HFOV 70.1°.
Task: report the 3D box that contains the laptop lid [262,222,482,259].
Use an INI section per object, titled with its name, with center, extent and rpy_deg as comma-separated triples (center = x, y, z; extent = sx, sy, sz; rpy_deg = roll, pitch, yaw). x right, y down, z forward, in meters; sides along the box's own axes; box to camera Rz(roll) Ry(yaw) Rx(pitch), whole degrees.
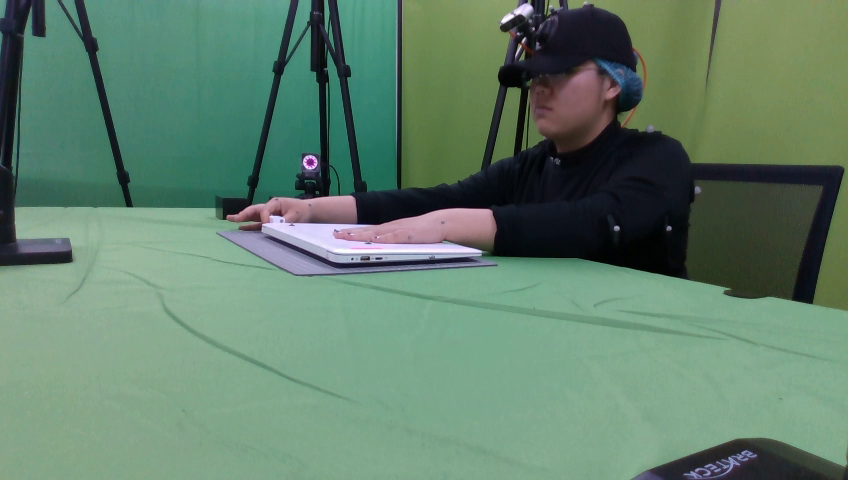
[laptop lid]
center = -0.098, -0.003, 0.964
extent = 0.243, 0.013, 0.355
rpy_deg = 2, 7, -29

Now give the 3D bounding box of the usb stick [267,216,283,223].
[usb stick]
center = -0.266, -0.029, 1.088
extent = 0.021, 0.027, 0.059
rpy_deg = -6, 12, -25

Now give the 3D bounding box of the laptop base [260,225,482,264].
[laptop base]
center = -0.101, 0.007, 0.965
extent = 0.237, 0.023, 0.352
rpy_deg = 3, 6, -31
